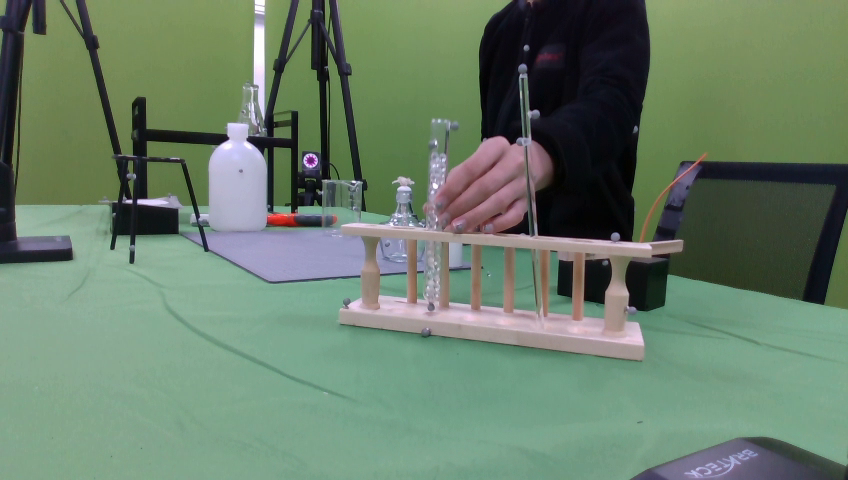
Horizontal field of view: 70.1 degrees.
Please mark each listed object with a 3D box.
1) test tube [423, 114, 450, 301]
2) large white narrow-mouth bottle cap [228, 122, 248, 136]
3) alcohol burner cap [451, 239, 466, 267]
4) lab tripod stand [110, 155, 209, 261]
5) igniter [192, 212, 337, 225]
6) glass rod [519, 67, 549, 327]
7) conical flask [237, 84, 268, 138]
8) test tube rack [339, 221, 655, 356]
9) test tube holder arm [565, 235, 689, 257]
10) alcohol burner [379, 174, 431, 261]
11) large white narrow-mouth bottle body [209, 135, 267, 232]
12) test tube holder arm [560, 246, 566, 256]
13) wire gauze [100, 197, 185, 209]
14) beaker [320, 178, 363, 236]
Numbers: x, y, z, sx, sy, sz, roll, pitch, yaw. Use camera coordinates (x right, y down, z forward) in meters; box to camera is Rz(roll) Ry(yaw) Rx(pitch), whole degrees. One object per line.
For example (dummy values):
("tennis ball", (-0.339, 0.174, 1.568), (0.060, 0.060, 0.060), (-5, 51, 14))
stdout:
("test tube", (0.009, -0.024, 0.484), (0.017, 0.150, 0.017), (2, 9, 0))
("large white narrow-mouth bottle cap", (-0.338, -0.200, 1.097), (0.038, 0.024, 0.037), (2, 8, 0))
("alcohol burner cap", (0.041, 0.010, 0.815), (0.034, 0.048, 0.034), (3, 9, 0))
("lab tripod stand", (-0.362, -0.046, 0.806), (0.148, 0.131, 0.148), (2, 5, 0))
("igniter", (-0.312, -0.042, 1.203), (0.278, 0.025, 0.057), (-1, -5, -25))
("glass rod", (0.084, -0.029, 0.458), (0.008, 0.199, 0.008), (-7, 11, 2))
("conical flask", (-0.402, -0.299, 1.406), (0.075, 0.122, 0.075), (2, 7, 0))
("test tube rack", (0.056, 0.032, 0.495), (0.242, 0.085, 0.067), (4, 7, 16))
("test tube holder arm", (0.216, 0.006, 0.629), (0.179, 0.015, 0.013), (-3, 11, -29))
("alcohol burner", (-0.027, -0.031, 0.838), (0.078, 0.119, 0.078), (0, 6, 0))
("large white narrow-mouth bottle body", (-0.340, -0.115, 1.109), (0.102, 0.194, 0.102), (2, 8, 0))
("test tube holder arm", (0.173, 0.007, 0.611), (0.088, 0.015, 0.010), (-3, 11, -29))
("wire gauze", (-0.469, -0.062, 1.008), (0.126, 0.011, 0.121), (-2, 8, -25))
("beaker", (-0.145, -0.059, 1.078), (0.074, 0.100, 0.083), (-4, 10, -36))
